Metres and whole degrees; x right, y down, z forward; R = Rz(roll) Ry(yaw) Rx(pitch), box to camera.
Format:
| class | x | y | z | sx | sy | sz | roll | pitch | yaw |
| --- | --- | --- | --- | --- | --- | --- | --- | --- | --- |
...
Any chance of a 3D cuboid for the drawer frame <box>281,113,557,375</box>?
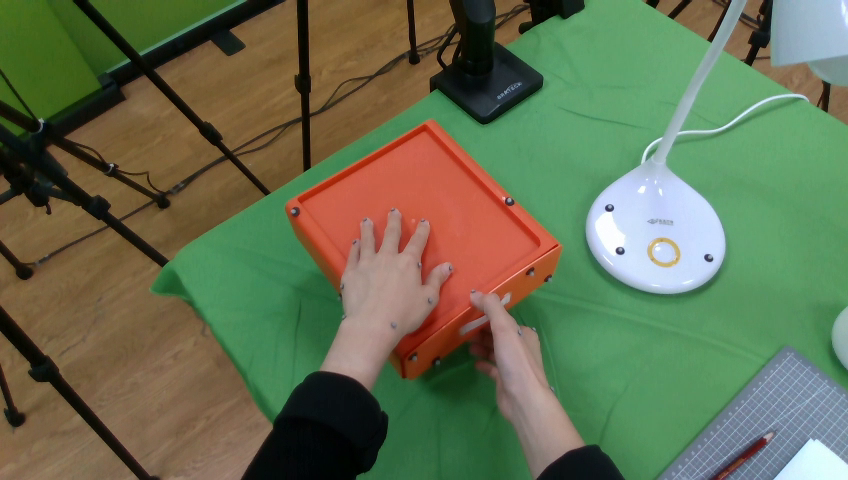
| class | x | y | z | sx | sy | sz | roll | pitch | yaw |
| --- | --- | --- | --- | --- | --- | --- | --- | --- | --- |
| drawer frame | -0.007 | -0.002 | 0.643 | 0.201 | 0.083 | 0.212 | -34 | 65 | -17 |

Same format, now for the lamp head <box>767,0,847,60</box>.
| class | x | y | z | sx | sy | sz | roll | pitch | yaw |
| --- | --- | --- | --- | --- | --- | --- | --- | --- | --- |
| lamp head | 0.280 | -0.186 | 0.395 | 0.112 | 0.112 | 0.123 | -13 | 97 | -5 |

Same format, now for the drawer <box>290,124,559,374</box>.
| class | x | y | z | sx | sy | sz | roll | pitch | yaw |
| --- | --- | --- | --- | --- | --- | --- | --- | --- | --- |
| drawer | -0.003 | 0.001 | 0.638 | 0.194 | 0.074 | 0.210 | -34 | 64 | -17 |

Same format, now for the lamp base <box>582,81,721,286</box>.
| class | x | y | z | sx | sy | sz | roll | pitch | yaw |
| --- | --- | --- | --- | --- | --- | --- | --- | --- | --- |
| lamp base | 0.265 | -0.068 | 0.664 | 0.161 | 0.182 | 0.177 | -6 | 56 | -2 |

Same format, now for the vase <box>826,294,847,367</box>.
| class | x | y | z | sx | sy | sz | roll | pitch | yaw |
| --- | --- | --- | --- | --- | --- | --- | --- | --- | --- |
| vase | 0.469 | 0.059 | 0.567 | 0.098 | 0.202 | 0.097 | -1 | 57 | 3 |

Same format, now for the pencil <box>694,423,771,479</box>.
| class | x | y | z | sx | sy | sz | roll | pitch | yaw |
| --- | --- | --- | --- | --- | --- | --- | --- | --- | --- |
| pencil | 0.266 | 0.229 | 0.580 | 0.194 | 0.012 | 0.012 | -29 | 61 | -17 |
